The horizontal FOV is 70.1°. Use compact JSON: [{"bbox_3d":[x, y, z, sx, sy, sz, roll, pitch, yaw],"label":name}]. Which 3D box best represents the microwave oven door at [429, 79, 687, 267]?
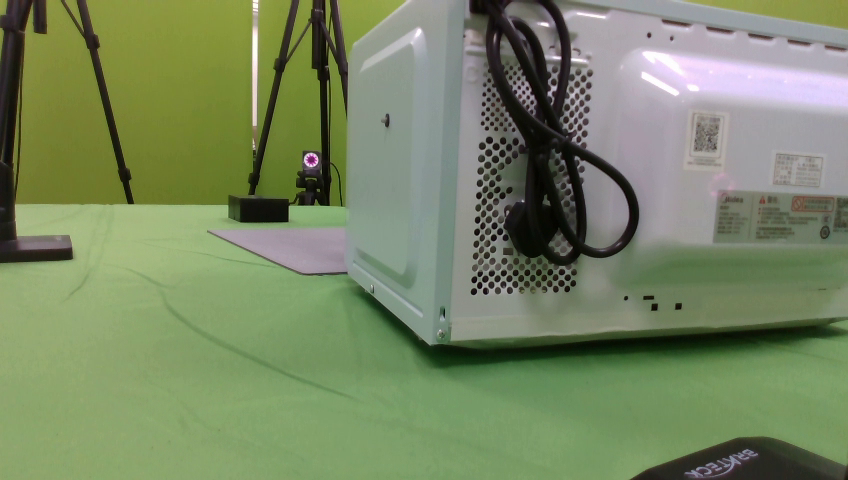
[{"bbox_3d":[0.174,-0.101,0.861,0.354,0.243,0.039,6,9,28],"label":"microwave oven door"}]

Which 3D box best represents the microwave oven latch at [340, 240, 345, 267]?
[{"bbox_3d":[-0.052,0.016,0.662,0.079,0.029,0.030,1,7,-18],"label":"microwave oven latch"}]

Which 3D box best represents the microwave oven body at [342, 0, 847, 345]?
[{"bbox_3d":[0.169,-0.060,0.573,0.444,0.260,0.324,1,7,-20],"label":"microwave oven body"}]

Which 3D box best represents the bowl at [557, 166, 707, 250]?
[{"bbox_3d":[0.214,-0.035,0.640,0.151,0.077,0.151,2,11,0],"label":"bowl"}]
